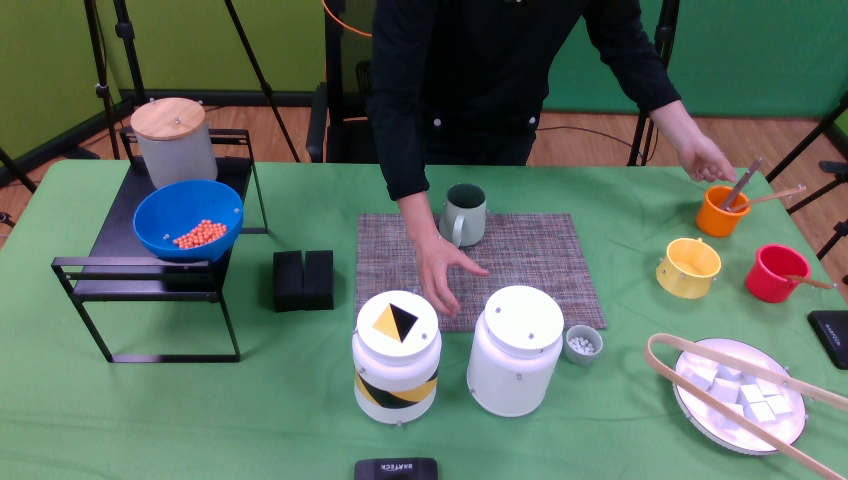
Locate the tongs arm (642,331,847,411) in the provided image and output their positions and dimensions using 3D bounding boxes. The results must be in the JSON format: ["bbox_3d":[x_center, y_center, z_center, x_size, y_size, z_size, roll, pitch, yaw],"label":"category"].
[{"bbox_3d":[0.546,0.227,0.968,0.384,0.026,0.050,22,52,13],"label":"tongs arm"}]

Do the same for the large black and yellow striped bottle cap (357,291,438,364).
[{"bbox_3d":[-0.037,0.121,0.851,0.115,0.019,0.114,2,46,-1],"label":"large black and yellow striped bottle cap"}]

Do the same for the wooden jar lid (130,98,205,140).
[{"bbox_3d":[-0.393,-0.183,0.934,0.108,0.021,0.107,3,44,-2],"label":"wooden jar lid"}]

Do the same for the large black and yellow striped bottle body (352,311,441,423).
[{"bbox_3d":[-0.042,0.177,0.913,0.131,0.185,0.130,2,46,-2],"label":"large black and yellow striped bottle body"}]

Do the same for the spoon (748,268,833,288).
[{"bbox_3d":[0.660,0.068,1.097,0.041,0.193,0.021,-4,91,-6],"label":"spoon"}]

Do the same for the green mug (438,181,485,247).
[{"bbox_3d":[0.071,-0.039,1.177,0.092,0.105,0.124,12,47,7],"label":"green mug"}]

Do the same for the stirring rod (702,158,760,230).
[{"bbox_3d":[0.636,-0.095,1.257,0.014,0.006,0.176,39,98,31],"label":"stirring rod"}]

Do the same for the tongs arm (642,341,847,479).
[{"bbox_3d":[0.504,0.278,0.918,0.386,0.028,0.028,34,59,22],"label":"tongs arm"}]

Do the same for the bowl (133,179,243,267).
[{"bbox_3d":[-0.339,-0.013,0.895,0.151,0.077,0.150,2,46,-2],"label":"bowl"}]

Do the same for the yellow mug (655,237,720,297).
[{"bbox_3d":[0.509,0.041,1.167,0.099,0.064,0.130,24,48,18],"label":"yellow mug"}]

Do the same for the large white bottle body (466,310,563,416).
[{"bbox_3d":[0.138,0.171,0.932,0.131,0.185,0.130,2,46,-2],"label":"large white bottle body"}]

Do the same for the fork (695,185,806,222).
[{"bbox_3d":[0.658,-0.074,1.230,0.207,0.019,0.028,-23,36,37],"label":"fork"}]

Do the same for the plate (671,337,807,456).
[{"bbox_3d":[0.503,0.254,0.984,0.208,0.039,0.206,2,46,-2],"label":"plate"}]

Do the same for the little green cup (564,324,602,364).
[{"bbox_3d":[0.269,0.180,1.035,0.061,0.039,0.061,2,45,-2],"label":"little green cup"}]

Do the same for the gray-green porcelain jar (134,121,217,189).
[{"bbox_3d":[-0.397,-0.141,0.980,0.106,0.127,0.105,2,47,-2],"label":"gray-green porcelain jar"}]

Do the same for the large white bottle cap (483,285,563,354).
[{"bbox_3d":[0.142,0.112,0.871,0.115,0.018,0.114,3,46,-2],"label":"large white bottle cap"}]
